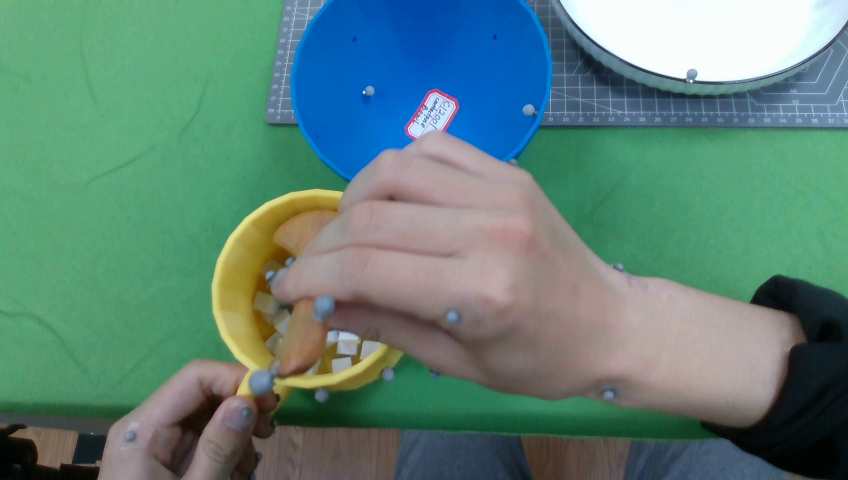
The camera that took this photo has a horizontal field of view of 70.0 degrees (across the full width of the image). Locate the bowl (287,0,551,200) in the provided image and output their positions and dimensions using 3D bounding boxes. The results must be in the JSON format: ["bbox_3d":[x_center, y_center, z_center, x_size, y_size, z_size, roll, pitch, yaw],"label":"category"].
[{"bbox_3d":[0.000,-0.086,0.379,0.151,0.077,0.150,-1,74,5],"label":"bowl"}]

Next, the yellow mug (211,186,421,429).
[{"bbox_3d":[-0.061,0.041,0.324,0.099,0.064,0.130,28,79,9],"label":"yellow mug"}]

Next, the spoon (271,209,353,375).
[{"bbox_3d":[-0.045,0.012,0.246,0.041,0.192,0.022,-14,107,-6],"label":"spoon"}]

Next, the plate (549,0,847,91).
[{"bbox_3d":[0.183,-0.189,0.420,0.209,0.038,0.207,-1,70,4],"label":"plate"}]
